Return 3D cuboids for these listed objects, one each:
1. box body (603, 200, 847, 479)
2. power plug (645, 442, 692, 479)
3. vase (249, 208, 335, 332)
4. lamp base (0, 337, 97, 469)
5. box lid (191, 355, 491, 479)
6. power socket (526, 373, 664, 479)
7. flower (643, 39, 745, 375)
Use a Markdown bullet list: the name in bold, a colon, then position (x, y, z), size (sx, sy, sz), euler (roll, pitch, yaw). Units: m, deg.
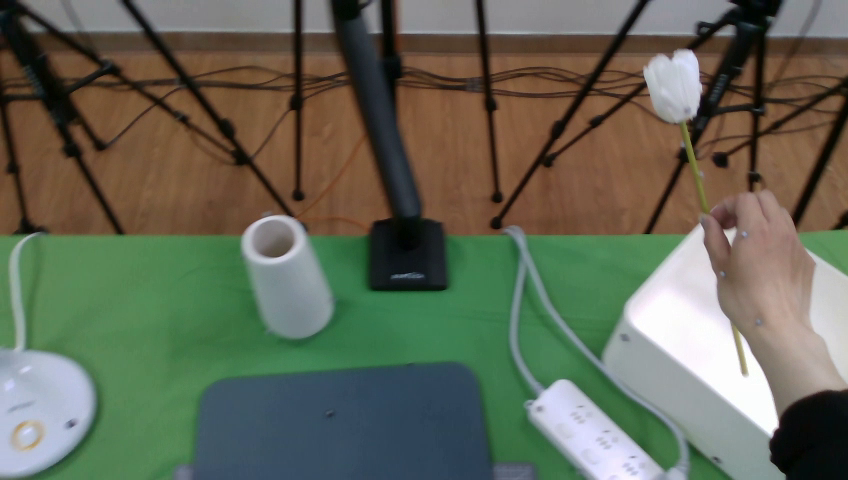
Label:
- **box body**: position (0.444, 0.161, 0.766), size (0.254, 0.161, 0.361), euler (-39, 67, -23)
- **power plug**: position (0.300, 0.283, 0.733), size (0.072, 0.053, 0.035), euler (-24, 59, -21)
- **vase**: position (-0.172, 0.042, 0.793), size (0.098, 0.201, 0.097), euler (2, 56, -2)
- **lamp base**: position (-0.508, 0.160, 0.714), size (0.161, 0.182, 0.177), euler (-27, 60, -18)
- **box lid**: position (-0.100, 0.277, 0.758), size (0.372, 0.015, 0.260), euler (-3, 58, -4)
- **power socket**: position (0.228, 0.264, 0.769), size (0.072, 0.033, 0.225), euler (-35, 65, -22)
- **flower**: position (0.275, -0.014, 0.586), size (0.044, 0.364, 0.038), euler (-20, 21, 8)
